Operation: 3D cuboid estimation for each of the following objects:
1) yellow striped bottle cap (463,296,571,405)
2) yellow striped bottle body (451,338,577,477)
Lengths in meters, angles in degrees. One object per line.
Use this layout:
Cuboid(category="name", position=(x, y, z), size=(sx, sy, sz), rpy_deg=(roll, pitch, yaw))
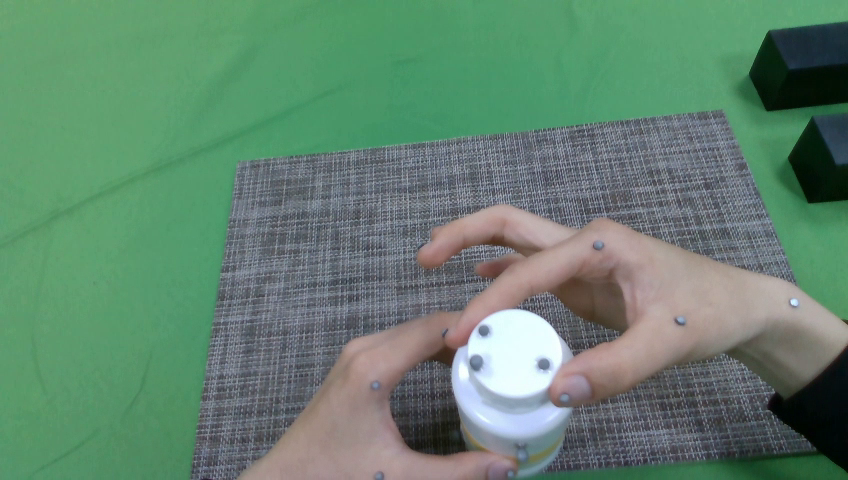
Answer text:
Cuboid(category="yellow striped bottle cap", position=(0.039, 0.047, 0.258), size=(0.044, 0.019, 0.044), rpy_deg=(1, 62, -1))
Cuboid(category="yellow striped bottle body", position=(0.048, 0.084, 0.326), size=(0.063, 0.121, 0.062), rpy_deg=(-4, 58, 7))
